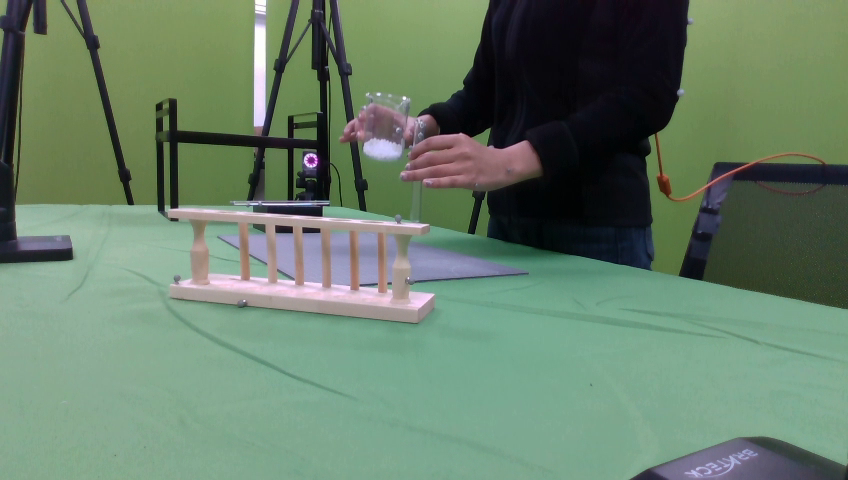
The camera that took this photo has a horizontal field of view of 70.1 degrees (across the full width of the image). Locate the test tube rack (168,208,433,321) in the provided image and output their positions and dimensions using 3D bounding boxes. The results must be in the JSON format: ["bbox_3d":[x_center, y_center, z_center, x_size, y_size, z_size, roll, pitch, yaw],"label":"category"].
[{"bbox_3d":[-0.115,0.017,0.574,0.242,0.085,0.067,4,8,13],"label":"test tube rack"}]

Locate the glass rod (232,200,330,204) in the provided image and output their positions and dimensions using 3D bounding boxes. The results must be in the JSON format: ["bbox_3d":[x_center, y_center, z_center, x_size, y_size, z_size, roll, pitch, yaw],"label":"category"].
[{"bbox_3d":[-0.265,-0.071,1.146,0.201,0.008,0.008,-4,9,-40],"label":"glass rod"}]

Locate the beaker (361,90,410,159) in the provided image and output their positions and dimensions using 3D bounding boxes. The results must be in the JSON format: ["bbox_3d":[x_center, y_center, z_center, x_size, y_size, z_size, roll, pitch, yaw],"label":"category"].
[{"bbox_3d":[-0.063,-0.186,0.984,0.074,0.100,0.083,-4,24,-28],"label":"beaker"}]

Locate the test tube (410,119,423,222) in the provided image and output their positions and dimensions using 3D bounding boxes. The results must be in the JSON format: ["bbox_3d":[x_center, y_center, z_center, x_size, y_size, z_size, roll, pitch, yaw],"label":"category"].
[{"bbox_3d":[-0.011,-0.101,0.881,0.017,0.150,0.017,2,6,0],"label":"test tube"}]
